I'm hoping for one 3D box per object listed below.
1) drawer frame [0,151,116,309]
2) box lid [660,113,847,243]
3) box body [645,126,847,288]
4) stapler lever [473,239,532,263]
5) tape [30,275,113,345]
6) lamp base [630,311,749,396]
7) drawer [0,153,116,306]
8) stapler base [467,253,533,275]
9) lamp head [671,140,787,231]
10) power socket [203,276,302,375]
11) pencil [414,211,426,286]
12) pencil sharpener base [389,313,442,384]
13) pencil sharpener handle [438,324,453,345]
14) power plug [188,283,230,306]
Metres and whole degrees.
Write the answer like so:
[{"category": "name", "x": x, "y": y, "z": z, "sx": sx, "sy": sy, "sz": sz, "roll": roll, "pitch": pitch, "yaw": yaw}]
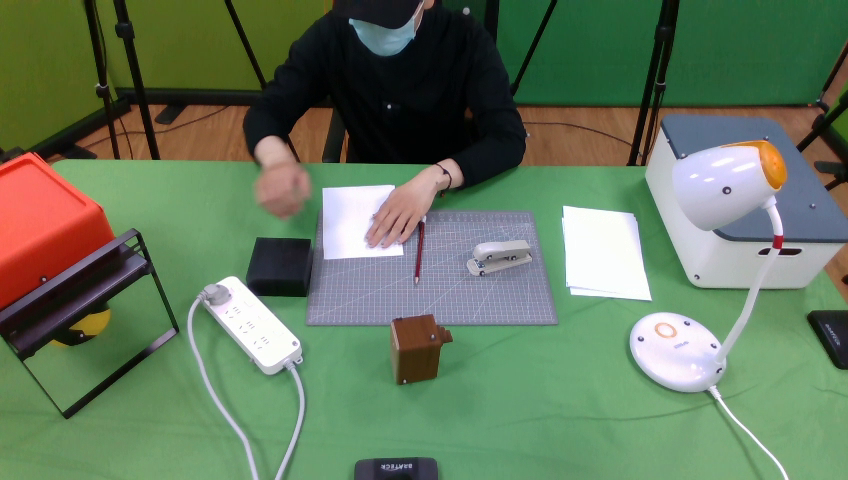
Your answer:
[{"category": "drawer frame", "x": -0.604, "y": -0.013, "z": 0.875, "sx": 0.201, "sy": 0.083, "sz": 0.213, "roll": 31, "pitch": 52, "yaw": 23}, {"category": "box lid", "x": 0.628, "y": -0.133, "z": 1.170, "sx": 0.263, "sy": 0.015, "sz": 0.369, "roll": 1, "pitch": 46, "yaw": -3}, {"category": "box body", "x": 0.625, "y": -0.080, "z": 1.222, "sx": 0.254, "sy": 0.161, "sz": 0.361, "roll": 0, "pitch": 46, "yaw": -3}, {"category": "stapler lever", "x": 0.150, "y": 0.017, "z": 1.155, "sx": 0.118, "sy": 0.040, "sz": 0.026, "roll": -13, "pitch": 50, "yaw": -17}, {"category": "tape", "x": -0.593, "y": 0.117, "z": 1.021, "sx": 0.117, "sy": 0.053, "sz": 0.116, "roll": 3, "pitch": 46, "yaw": -2}, {"category": "lamp base", "x": 0.447, "y": 0.143, "z": 0.983, "sx": 0.161, "sy": 0.181, "sz": 0.178, "roll": -24, "pitch": 55, "yaw": -24}, {"category": "drawer", "x": -0.601, "y": -0.015, "z": 0.880, "sx": 0.193, "sy": 0.073, "sz": 0.211, "roll": 32, "pitch": 53, "yaw": 23}, {"category": "stapler base", "x": 0.147, "y": 0.034, "z": 1.171, "sx": 0.131, "sy": 0.024, "sz": 0.041, "roll": -12, "pitch": 50, "yaw": -17}, {"category": "lamp head", "x": 0.415, "y": -0.078, "z": 0.811, "sx": 0.113, "sy": 0.123, "sz": 0.112, "roll": 13, "pitch": 70, "yaw": -37}, {"category": "power socket", "x": -0.297, "y": 0.141, "z": 1.034, "sx": 0.072, "sy": 0.033, "sz": 0.225, "roll": -34, "pitch": 58, "yaw": -30}, {"category": "pencil", "x": -0.008, "y": 0.014, "z": 1.190, "sx": 0.012, "sy": 0.012, "sz": 0.193, "roll": 5, "pitch": 48, "yaw": 1}, {"category": "pencil sharpener base", "x": -0.013, "y": 0.175, "z": 0.971, "sx": 0.077, "sy": 0.107, "sz": 0.061, "roll": -8, "pitch": 47, "yaw": -12}, {"category": "pencil sharpener handle", "x": 0.036, "y": 0.155, "z": 0.976, "sx": 0.031, "sy": 0.068, "sz": 0.036, "roll": -8, "pitch": 69, "yaw": -11}, {"category": "power plug", "x": -0.368, "y": 0.099, "z": 1.037, "sx": 0.072, "sy": 0.053, "sz": 0.035, "roll": -24, "pitch": 52, "yaw": -25}]
